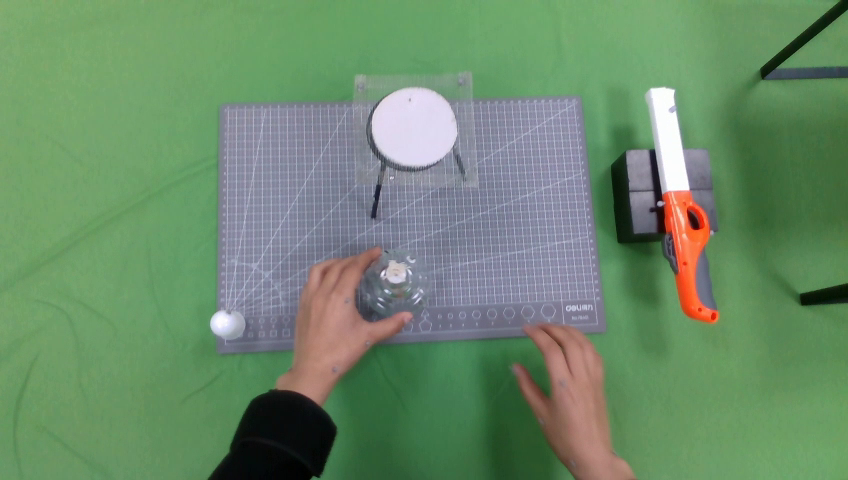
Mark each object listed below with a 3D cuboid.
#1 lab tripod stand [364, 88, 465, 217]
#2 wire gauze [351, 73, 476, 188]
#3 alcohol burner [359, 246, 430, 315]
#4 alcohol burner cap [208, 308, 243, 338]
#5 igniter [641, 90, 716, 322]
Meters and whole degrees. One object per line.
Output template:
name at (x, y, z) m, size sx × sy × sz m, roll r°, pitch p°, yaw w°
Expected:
lab tripod stand at (-0.022, -0.101, 0.675) m, size 0.148 × 0.132 × 0.147 m, roll 0°, pitch 77°, yaw -2°
wire gauze at (-0.011, -0.112, 0.609) m, size 0.125 × 0.011 × 0.121 m, roll 0°, pitch 78°, yaw -3°
alcohol burner at (-0.032, 0.042, 0.655) m, size 0.078 × 0.119 × 0.077 m, roll 1°, pitch 79°, yaw -3°
alcohol burner cap at (-0.221, 0.090, 0.668) m, size 0.034 × 0.048 × 0.033 m, roll 1°, pitch 76°, yaw -4°
igniter at (0.288, -0.043, 0.694) m, size 0.057 × 0.025 × 0.275 m, roll -3°, pitch 76°, yaw -8°
